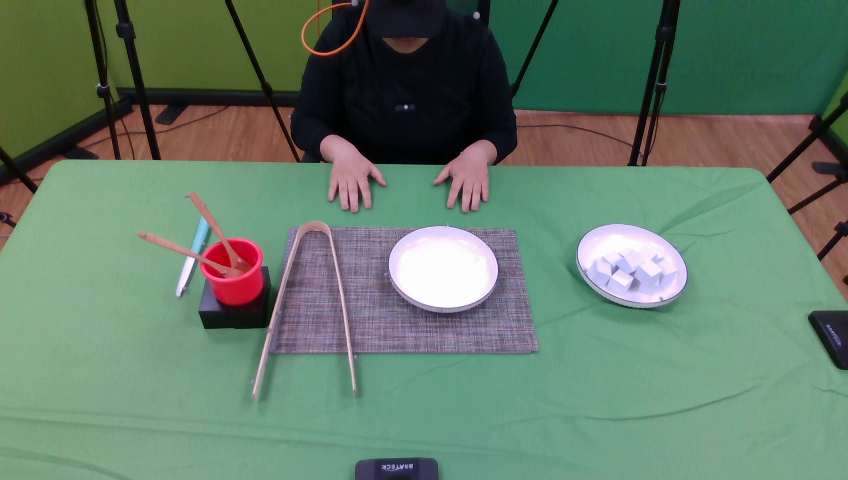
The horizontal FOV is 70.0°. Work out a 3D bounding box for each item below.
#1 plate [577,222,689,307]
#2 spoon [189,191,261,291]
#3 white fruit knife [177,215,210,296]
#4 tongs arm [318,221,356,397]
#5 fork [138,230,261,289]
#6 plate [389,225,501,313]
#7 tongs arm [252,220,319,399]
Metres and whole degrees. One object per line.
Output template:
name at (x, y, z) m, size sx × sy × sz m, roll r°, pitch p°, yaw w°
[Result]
plate at (0.396, 0.050, 1.165) m, size 0.209 × 0.038 × 0.208 m, roll 2°, pitch 47°, yaw -2°
spoon at (-0.333, 0.001, 1.012) m, size 0.041 × 0.194 × 0.021 m, roll -34°, pitch 15°, yaw -25°
white fruit knife at (-0.435, 0.025, 1.148) m, size 0.027 × 0.016 × 0.206 m, roll -18°, pitch 45°, yaw 19°
tongs arm at (-0.154, 0.104, 1.075) m, size 0.028 × 0.028 × 0.385 m, roll -11°, pitch 47°, yaw -7°
fork at (-0.359, 0.032, 0.981) m, size 0.208 × 0.018 × 0.028 m, roll 31°, pitch 60°, yaw -30°
plate at (0.038, 0.057, 1.129) m, size 0.208 × 0.039 × 0.206 m, roll 2°, pitch 46°, yaw -2°
tongs arm at (-0.236, 0.105, 1.067) m, size 0.051 × 0.026 × 0.382 m, roll 2°, pitch 46°, yaw 0°
